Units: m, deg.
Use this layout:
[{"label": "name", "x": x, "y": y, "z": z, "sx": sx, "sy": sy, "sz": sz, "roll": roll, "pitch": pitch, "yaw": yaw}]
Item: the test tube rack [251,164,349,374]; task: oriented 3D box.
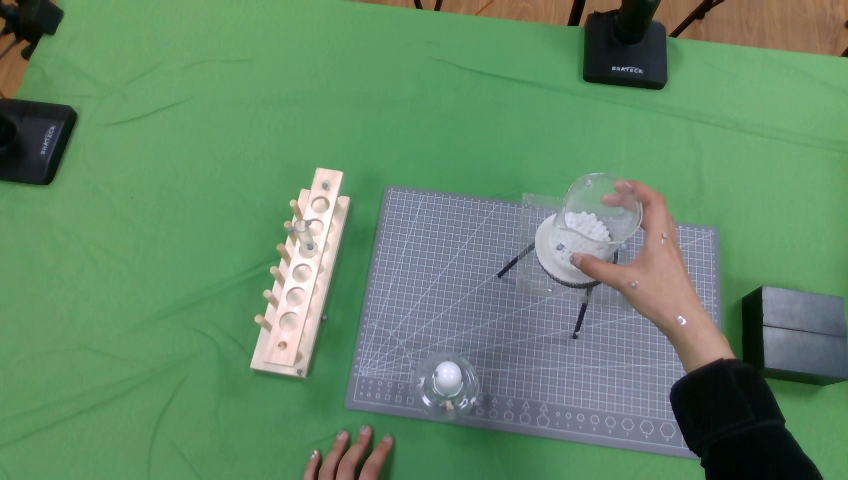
[{"label": "test tube rack", "x": -0.154, "y": 0.032, "z": 0.738, "sx": 0.067, "sy": 0.086, "sz": 0.241, "roll": 10, "pitch": 70, "yaw": 3}]

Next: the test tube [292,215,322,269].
[{"label": "test tube", "x": -0.132, "y": 0.006, "z": 0.695, "sx": 0.017, "sy": 0.151, "sz": 0.017, "roll": 1, "pitch": 70, "yaw": -3}]

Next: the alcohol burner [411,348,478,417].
[{"label": "alcohol burner", "x": 0.024, "y": 0.157, "z": 0.677, "sx": 0.078, "sy": 0.120, "sz": 0.077, "roll": 1, "pitch": 69, "yaw": -3}]

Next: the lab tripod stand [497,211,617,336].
[{"label": "lab tripod stand", "x": 0.166, "y": 0.028, "z": 0.718, "sx": 0.148, "sy": 0.132, "sz": 0.147, "roll": 0, "pitch": 67, "yaw": 0}]

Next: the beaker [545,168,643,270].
[{"label": "beaker", "x": 0.164, "y": -0.015, "z": 0.612, "sx": 0.084, "sy": 0.101, "sz": 0.073, "roll": -23, "pitch": 71, "yaw": -10}]

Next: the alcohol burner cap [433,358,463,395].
[{"label": "alcohol burner cap", "x": 0.025, "y": 0.143, "z": 0.643, "sx": 0.034, "sy": 0.048, "sz": 0.033, "roll": -1, "pitch": 64, "yaw": 3}]

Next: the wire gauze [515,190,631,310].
[{"label": "wire gauze", "x": 0.163, "y": 0.007, "z": 0.655, "sx": 0.125, "sy": 0.011, "sz": 0.120, "roll": 10, "pitch": 70, "yaw": 0}]
